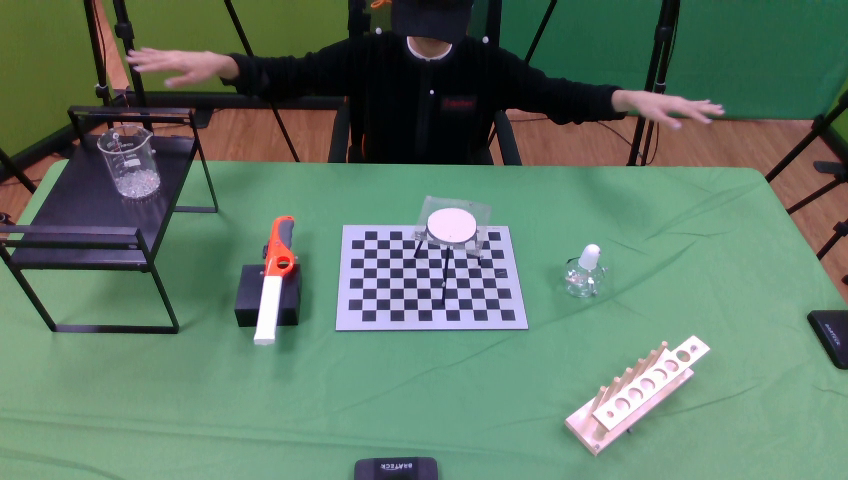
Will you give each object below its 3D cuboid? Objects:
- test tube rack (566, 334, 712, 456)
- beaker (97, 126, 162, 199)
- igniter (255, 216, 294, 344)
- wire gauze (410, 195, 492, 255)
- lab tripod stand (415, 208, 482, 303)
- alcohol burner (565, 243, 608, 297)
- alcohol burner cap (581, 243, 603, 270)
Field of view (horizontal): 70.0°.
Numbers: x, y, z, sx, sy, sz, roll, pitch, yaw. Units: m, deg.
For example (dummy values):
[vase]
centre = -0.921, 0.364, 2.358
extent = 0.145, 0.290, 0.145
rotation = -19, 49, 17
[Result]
[test tube rack]
centre = 0.338, 0.228, 0.950
extent = 0.242, 0.085, 0.066
rotation = -27, 52, -26
[beaker]
centre = -0.468, -0.124, 0.978
extent = 0.084, 0.101, 0.073
rotation = -25, 53, -26
[igniter]
centre = -0.258, 0.059, 1.051
extent = 0.057, 0.025, 0.274
rotation = 2, 47, -6
[wire gauze]
centre = 0.049, -0.031, 1.051
extent = 0.125, 0.011, 0.121
rotation = 12, 47, 9
[lab tripod stand]
centre = 0.043, 0.018, 1.097
extent = 0.148, 0.132, 0.147
rotation = 1, 46, 0
[alcohol burner]
centre = 0.299, 0.048, 1.103
extent = 0.078, 0.119, 0.077
rotation = 3, 45, -3
[alcohol burner cap]
centre = 0.302, 0.026, 1.082
extent = 0.034, 0.048, 0.033
rotation = 4, 45, -4
